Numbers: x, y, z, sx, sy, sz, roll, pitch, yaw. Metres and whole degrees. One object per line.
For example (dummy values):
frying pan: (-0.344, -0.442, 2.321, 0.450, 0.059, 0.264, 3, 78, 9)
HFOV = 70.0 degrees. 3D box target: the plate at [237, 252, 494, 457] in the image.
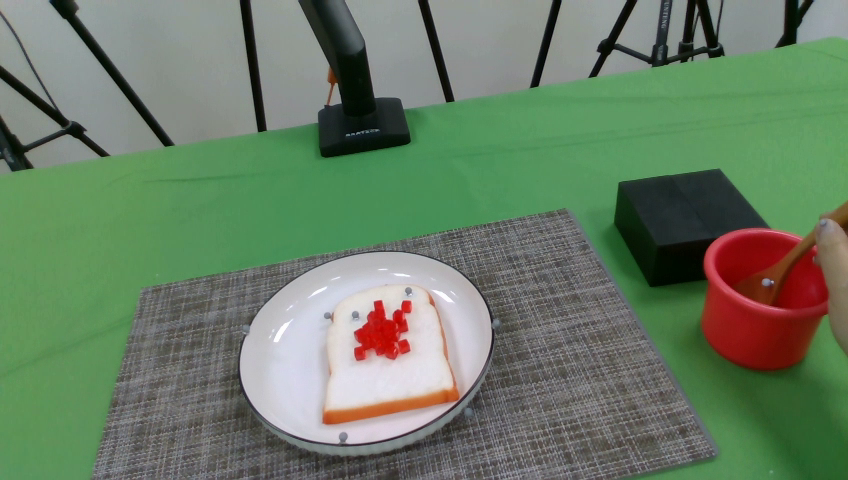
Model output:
plate: (-0.047, 0.090, 0.504, 0.209, 0.038, 0.207, -4, 40, 4)

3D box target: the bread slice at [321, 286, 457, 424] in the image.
bread slice: (-0.035, 0.089, 0.506, 0.105, 0.019, 0.130, -9, 40, -3)

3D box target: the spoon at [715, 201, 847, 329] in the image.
spoon: (0.277, 0.007, 0.438, 0.022, 0.195, 0.041, 13, 50, -6)
